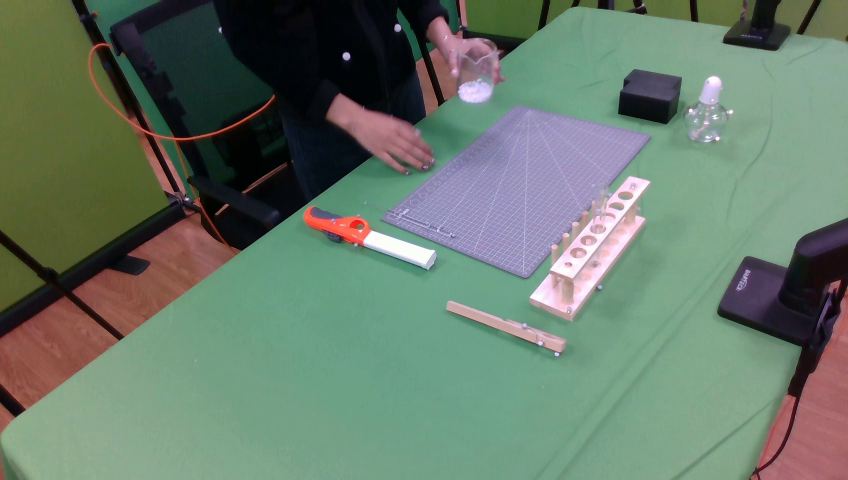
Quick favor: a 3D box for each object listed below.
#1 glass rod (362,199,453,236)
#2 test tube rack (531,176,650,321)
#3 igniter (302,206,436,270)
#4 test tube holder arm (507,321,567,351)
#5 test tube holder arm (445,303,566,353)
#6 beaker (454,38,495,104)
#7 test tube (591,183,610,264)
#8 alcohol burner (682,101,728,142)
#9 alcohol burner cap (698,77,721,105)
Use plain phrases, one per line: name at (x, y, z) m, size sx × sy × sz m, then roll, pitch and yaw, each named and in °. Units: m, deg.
glass rod at (-0.032, -0.041, 1.041) m, size 0.198 × 0.008 × 0.008 m, roll 22°, pitch 50°, yaw 31°
test tube rack at (0.246, 0.002, 0.884) m, size 0.066 × 0.085 × 0.243 m, roll 22°, pitch 49°, yaw 32°
igniter at (-0.101, -0.007, 1.004) m, size 0.274 × 0.025 × 0.057 m, roll 20°, pitch 58°, yaw 29°
test tube holder arm at (0.148, 0.128, 0.808) m, size 0.087 × 0.015 × 0.010 m, roll 16°, pitch 11°, yaw 28°
test tube holder arm at (0.107, 0.117, 0.824) m, size 0.177 × 0.015 × 0.013 m, roll 16°, pitch 11°, yaw 27°
beaker at (0.093, -0.311, 1.128) m, size 0.074 × 0.100 × 0.083 m, roll 0°, pitch 45°, yaw 3°
test tube at (0.242, -0.019, 0.832) m, size 0.017 × 0.151 × 0.017 m, roll -5°, pitch 46°, yaw 6°
alcohol burner at (0.513, -0.239, 1.097) m, size 0.078 × 0.119 × 0.077 m, roll -4°, pitch 40°, yaw 4°
alcohol burner cap at (0.509, -0.266, 1.072) m, size 0.034 × 0.048 × 0.033 m, roll -4°, pitch 48°, yaw 5°
